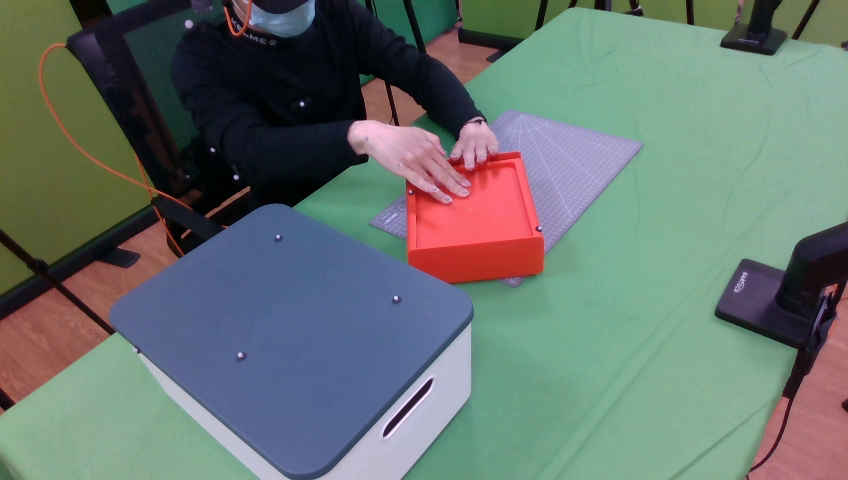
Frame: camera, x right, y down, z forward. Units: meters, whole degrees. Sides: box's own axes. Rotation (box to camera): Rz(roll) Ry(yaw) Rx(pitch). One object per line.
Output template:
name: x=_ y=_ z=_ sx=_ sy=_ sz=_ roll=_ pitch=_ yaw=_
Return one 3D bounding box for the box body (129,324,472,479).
box body: x=-0.147 y=0.136 z=0.726 sx=0.361 sy=0.161 sz=0.255 roll=25 pitch=50 yaw=32

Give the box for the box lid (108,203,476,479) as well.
box lid: x=-0.156 y=0.079 z=0.678 sx=0.368 sy=0.015 sz=0.264 roll=24 pitch=49 yaw=32

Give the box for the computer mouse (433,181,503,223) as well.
computer mouse: x=0.073 y=-0.065 z=1.012 sx=0.117 sy=0.041 sz=0.062 roll=-10 pitch=44 yaw=4

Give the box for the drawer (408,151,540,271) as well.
drawer: x=0.074 y=-0.051 z=0.974 sx=0.194 sy=0.073 sz=0.210 roll=-5 pitch=41 yaw=2

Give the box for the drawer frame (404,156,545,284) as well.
drawer frame: x=0.073 y=-0.036 z=0.953 sx=0.202 sy=0.083 sz=0.212 roll=-6 pitch=41 yaw=1
